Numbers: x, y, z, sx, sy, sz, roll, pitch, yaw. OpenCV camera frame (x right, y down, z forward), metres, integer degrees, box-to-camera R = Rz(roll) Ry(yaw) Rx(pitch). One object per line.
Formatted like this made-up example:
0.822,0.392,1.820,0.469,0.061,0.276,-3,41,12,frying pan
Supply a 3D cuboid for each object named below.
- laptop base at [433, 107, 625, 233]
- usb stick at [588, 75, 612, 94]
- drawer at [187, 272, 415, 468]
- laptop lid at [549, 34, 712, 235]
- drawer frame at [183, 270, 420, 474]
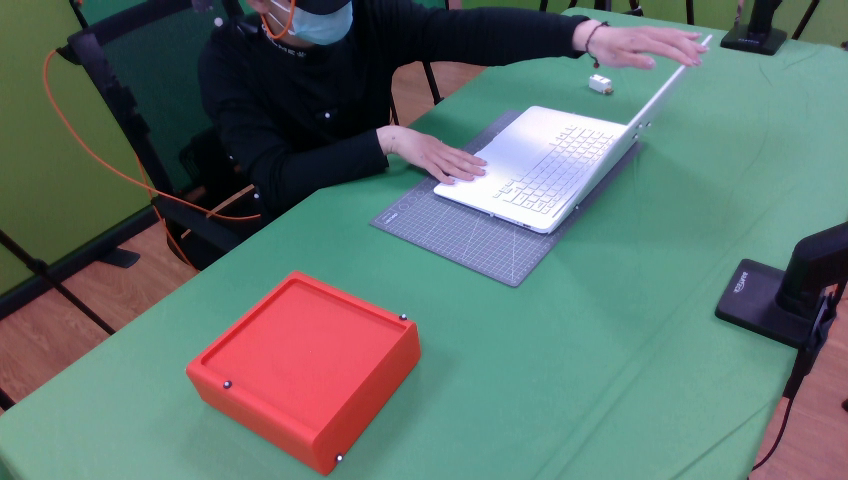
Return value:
0.210,-0.142,1.111,0.233,0.023,0.355,20,47,34,laptop base
0.382,-0.333,1.303,0.021,0.027,0.058,-26,46,-22,usb stick
-0.150,0.154,0.768,0.210,0.073,0.195,20,47,28,drawer
0.329,-0.168,0.957,0.013,0.242,0.358,39,54,12,laptop lid
-0.148,0.153,0.767,0.212,0.083,0.202,20,46,27,drawer frame
